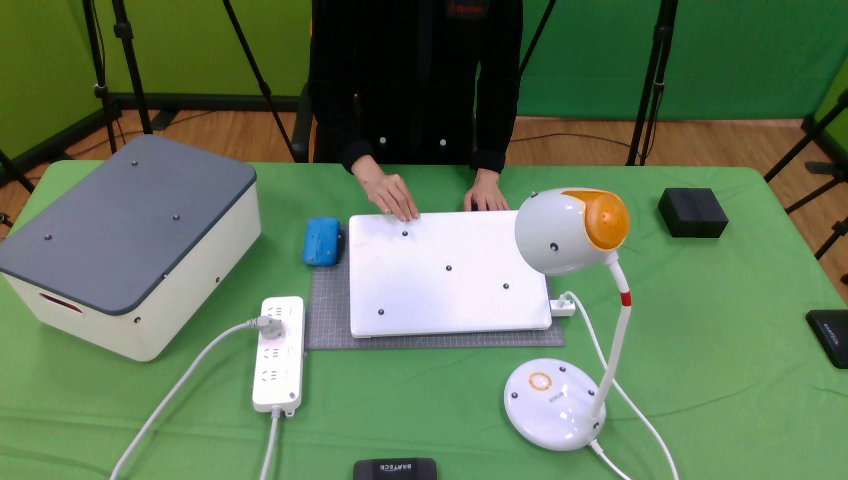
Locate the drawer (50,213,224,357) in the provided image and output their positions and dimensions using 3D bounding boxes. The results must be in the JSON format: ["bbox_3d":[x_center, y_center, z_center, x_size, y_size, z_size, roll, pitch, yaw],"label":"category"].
[{"bbox_3d":[-0.492,0.075,1.057,0.194,0.073,0.211,18,57,10],"label":"drawer"}]

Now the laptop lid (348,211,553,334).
[{"bbox_3d":[0.042,0.052,1.086,0.357,0.013,0.240,0,62,-5],"label":"laptop lid"}]

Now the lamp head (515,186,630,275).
[{"bbox_3d":[0.188,-0.013,0.728,0.112,0.112,0.122,-25,9,-25],"label":"lamp head"}]

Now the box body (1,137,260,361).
[{"bbox_3d":[-0.482,0.006,1.056,0.254,0.161,0.362,17,47,12],"label":"box body"}]

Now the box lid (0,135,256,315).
[{"bbox_3d":[-0.480,-0.044,1.002,0.263,0.015,0.370,18,47,12],"label":"box lid"}]

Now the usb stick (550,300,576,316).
[{"bbox_3d":[0.239,0.121,1.083,0.059,0.027,0.021,-2,51,-3],"label":"usb stick"}]

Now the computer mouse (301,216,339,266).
[{"bbox_3d":[-0.200,-0.002,1.170,0.063,0.041,0.116,4,50,-4],"label":"computer mouse"}]

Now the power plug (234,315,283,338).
[{"bbox_3d":[-0.269,0.143,1.000,0.072,0.053,0.035,5,46,2],"label":"power plug"}]

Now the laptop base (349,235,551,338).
[{"bbox_3d":[0.039,0.082,1.125,0.355,0.023,0.234,-2,43,-6],"label":"laptop base"}]

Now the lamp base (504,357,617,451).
[{"bbox_3d":[0.220,0.211,0.903,0.160,0.181,0.178,-32,59,-30],"label":"lamp base"}]

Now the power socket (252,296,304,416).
[{"bbox_3d":[-0.238,0.182,0.997,0.072,0.033,0.225,-3,47,-5],"label":"power socket"}]
